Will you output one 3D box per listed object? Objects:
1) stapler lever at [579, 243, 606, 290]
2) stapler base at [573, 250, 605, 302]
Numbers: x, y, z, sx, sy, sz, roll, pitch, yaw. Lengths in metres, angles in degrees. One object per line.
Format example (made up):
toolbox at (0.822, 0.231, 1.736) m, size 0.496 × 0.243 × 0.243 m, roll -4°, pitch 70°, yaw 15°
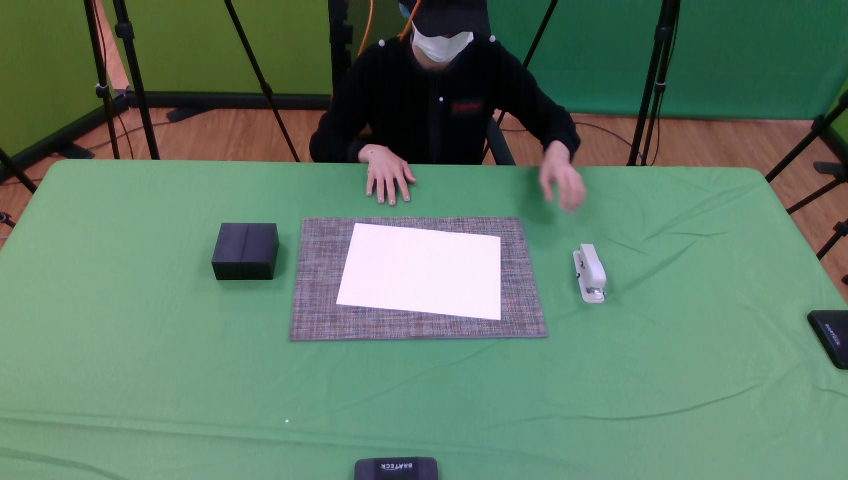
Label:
stapler lever at (0.318, 0.044, 1.144) m, size 0.027 × 0.040 × 0.117 m, roll 3°, pitch 45°, yaw -3°
stapler base at (0.317, 0.062, 1.160) m, size 0.041 × 0.024 × 0.129 m, roll 3°, pitch 44°, yaw -3°
